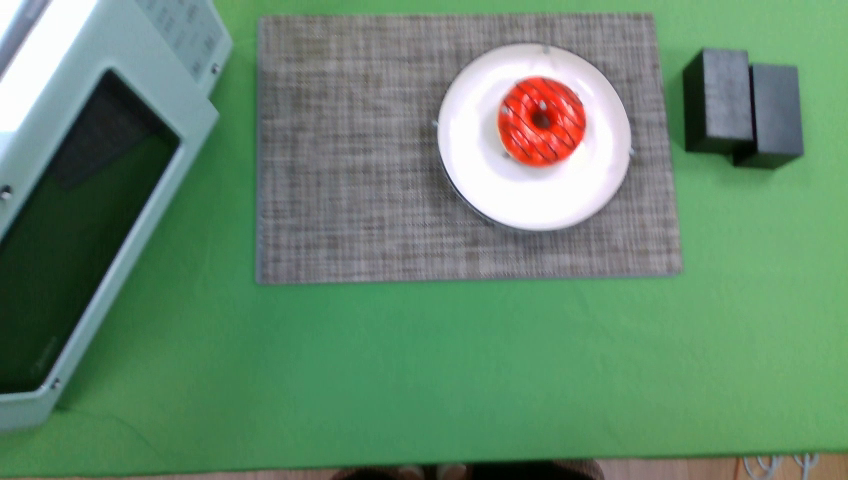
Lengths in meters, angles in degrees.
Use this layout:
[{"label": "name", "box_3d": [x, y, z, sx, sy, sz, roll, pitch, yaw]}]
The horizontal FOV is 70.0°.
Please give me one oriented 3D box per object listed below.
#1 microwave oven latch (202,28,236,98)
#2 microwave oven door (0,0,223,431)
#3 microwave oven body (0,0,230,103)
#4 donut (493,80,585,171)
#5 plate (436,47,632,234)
[{"label": "microwave oven latch", "box_3d": [-0.227, -0.188, 0.641, 0.030, 0.029, 0.079, 23, 80, 1]}, {"label": "microwave oven door", "box_3d": [-0.302, -0.006, 0.501, 0.039, 0.244, 0.355, 26, 79, 3]}, {"label": "microwave oven body", "box_3d": [-0.429, -0.104, 0.518, 0.326, 0.261, 0.440, 23, 80, 1]}, {"label": "donut", "box_3d": [0.123, -0.122, 0.648, 0.099, 0.048, 0.098, 1, 81, -4]}, {"label": "plate", "box_3d": [0.117, -0.105, 0.655, 0.209, 0.038, 0.208, 1, 80, -3]}]
